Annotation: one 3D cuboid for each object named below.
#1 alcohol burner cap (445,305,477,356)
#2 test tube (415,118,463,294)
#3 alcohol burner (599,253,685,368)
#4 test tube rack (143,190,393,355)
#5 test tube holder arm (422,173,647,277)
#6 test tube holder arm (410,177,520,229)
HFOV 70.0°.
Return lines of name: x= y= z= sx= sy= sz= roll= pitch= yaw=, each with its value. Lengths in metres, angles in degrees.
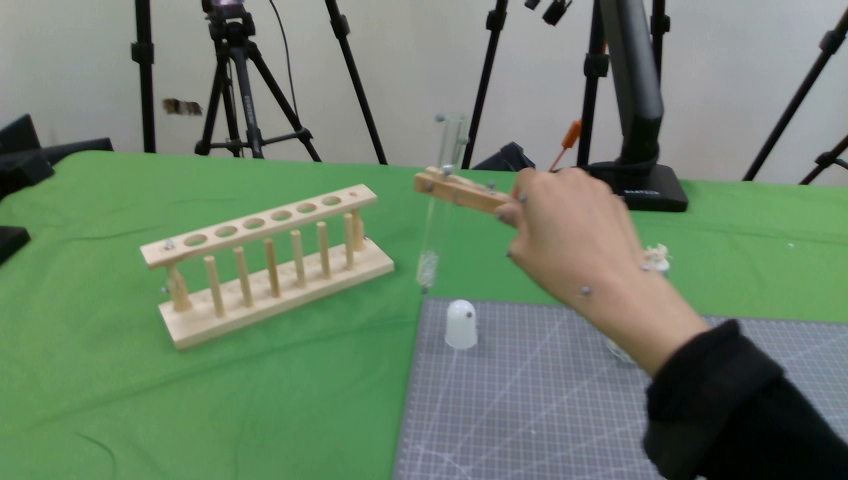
alcohol burner cap: x=0.036 y=0.084 z=0.588 sx=0.034 sy=0.048 sz=0.033 roll=1 pitch=34 yaw=0
test tube: x=0.010 y=-0.021 z=0.465 sx=0.017 sy=0.151 sz=0.017 roll=7 pitch=31 yaw=-4
alcohol burner: x=0.204 y=0.060 z=0.559 sx=0.078 sy=0.120 sz=0.077 roll=1 pitch=35 yaw=0
test tube rack: x=-0.155 y=0.027 z=0.643 sx=0.243 sy=0.086 sz=0.066 roll=-19 pitch=37 yaw=-27
test tube holder arm: x=0.070 y=-0.014 z=0.427 sx=0.177 sy=0.015 sz=0.013 roll=24 pitch=34 yaw=28
test tube holder arm: x=0.030 y=-0.028 z=0.442 sx=0.087 sy=0.015 sz=0.010 roll=19 pitch=32 yaw=22
